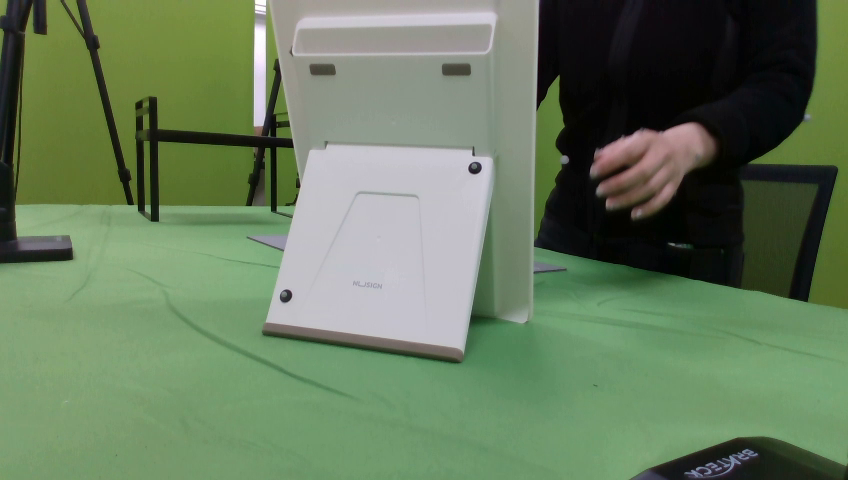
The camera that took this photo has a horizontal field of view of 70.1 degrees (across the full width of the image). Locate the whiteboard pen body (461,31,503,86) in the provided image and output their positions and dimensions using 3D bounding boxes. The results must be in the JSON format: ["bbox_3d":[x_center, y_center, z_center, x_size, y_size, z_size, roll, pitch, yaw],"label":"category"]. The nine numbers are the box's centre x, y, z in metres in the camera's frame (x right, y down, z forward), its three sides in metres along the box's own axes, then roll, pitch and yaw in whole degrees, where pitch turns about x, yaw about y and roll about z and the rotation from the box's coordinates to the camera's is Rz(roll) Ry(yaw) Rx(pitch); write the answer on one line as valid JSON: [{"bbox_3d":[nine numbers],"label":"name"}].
[{"bbox_3d":[0.071,-0.222,0.742,0.017,0.017,0.140,0,40,-19],"label":"whiteboard pen body"}]

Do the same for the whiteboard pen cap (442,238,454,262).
[{"bbox_3d":[0.034,0.014,0.852,0.018,0.033,0.018,3,5,0],"label":"whiteboard pen cap"}]

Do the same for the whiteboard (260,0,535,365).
[{"bbox_3d":[-0.037,-0.041,0.457,0.216,0.305,0.144,5,28,19],"label":"whiteboard"}]
